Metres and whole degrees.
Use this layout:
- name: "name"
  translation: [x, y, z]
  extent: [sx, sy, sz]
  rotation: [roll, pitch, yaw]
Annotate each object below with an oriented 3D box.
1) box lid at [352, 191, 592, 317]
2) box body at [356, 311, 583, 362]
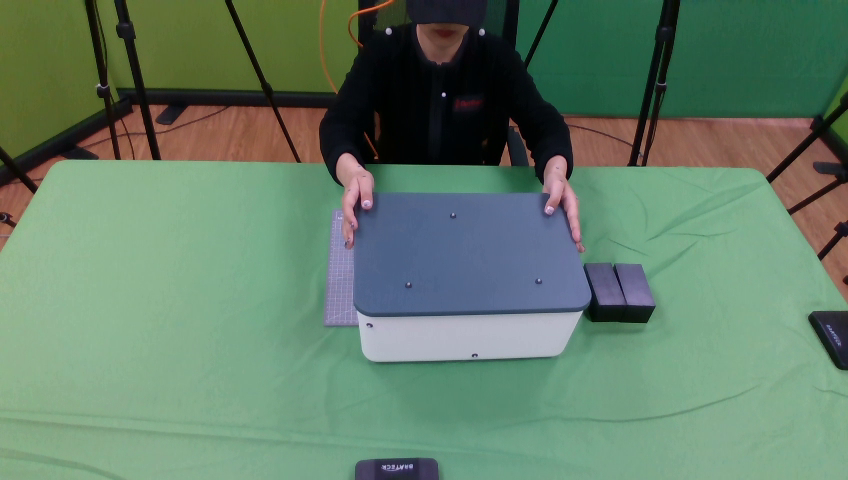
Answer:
- name: "box lid"
  translation: [0.071, 0.014, 0.985]
  extent: [0.372, 0.015, 0.261]
  rotation: [-1, 47, -5]
- name: "box body"
  translation: [0.065, 0.066, 1.040]
  extent: [0.364, 0.161, 0.252]
  rotation: [-1, 46, -5]
